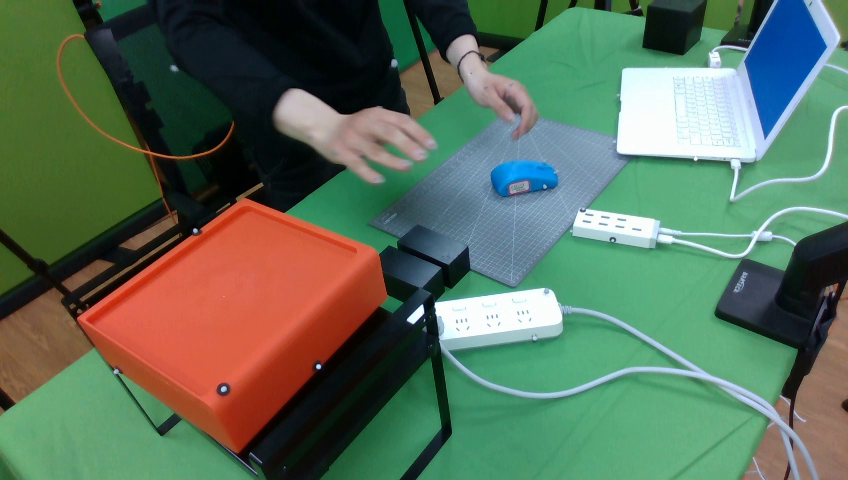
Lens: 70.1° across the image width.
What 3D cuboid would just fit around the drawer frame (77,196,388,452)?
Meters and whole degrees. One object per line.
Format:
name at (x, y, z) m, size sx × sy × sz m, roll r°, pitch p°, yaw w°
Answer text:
drawer frame at (-0.179, 0.066, 0.598) m, size 0.200 × 0.083 × 0.214 m, roll 20°, pitch 48°, yaw 28°

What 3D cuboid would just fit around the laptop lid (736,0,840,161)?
laptop lid at (0.641, -0.327, 1.090) m, size 0.013 × 0.242 × 0.356 m, roll 16°, pitch 43°, yaw 5°

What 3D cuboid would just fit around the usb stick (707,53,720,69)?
usb stick at (0.629, -0.382, 1.313) m, size 0.021 × 0.027 × 0.059 m, roll 2°, pitch 46°, yaw 17°

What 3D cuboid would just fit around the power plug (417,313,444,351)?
power plug at (0.007, 0.127, 0.786) m, size 0.035 × 0.053 × 0.072 m, roll 0°, pitch 43°, yaw 8°

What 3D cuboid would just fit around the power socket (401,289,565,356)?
power socket at (0.081, 0.112, 0.822) m, size 0.227 × 0.033 × 0.072 m, roll -7°, pitch 41°, yaw 0°

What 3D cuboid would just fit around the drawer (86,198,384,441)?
drawer at (-0.179, 0.064, 0.600) m, size 0.193 × 0.073 × 0.212 m, roll 21°, pitch 48°, yaw 28°

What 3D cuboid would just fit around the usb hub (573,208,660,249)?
usb hub at (0.302, -0.019, 0.949) m, size 0.124 × 0.025 × 0.049 m, roll 11°, pitch 43°, yaw 20°

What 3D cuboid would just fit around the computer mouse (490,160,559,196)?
computer mouse at (0.177, -0.114, 1.066) m, size 0.117 × 0.041 × 0.062 m, roll -8°, pitch 39°, yaw -6°

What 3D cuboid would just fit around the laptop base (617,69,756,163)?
laptop base at (0.509, -0.255, 1.201) m, size 0.234 × 0.023 × 0.353 m, roll 4°, pitch 41°, yaw 16°
